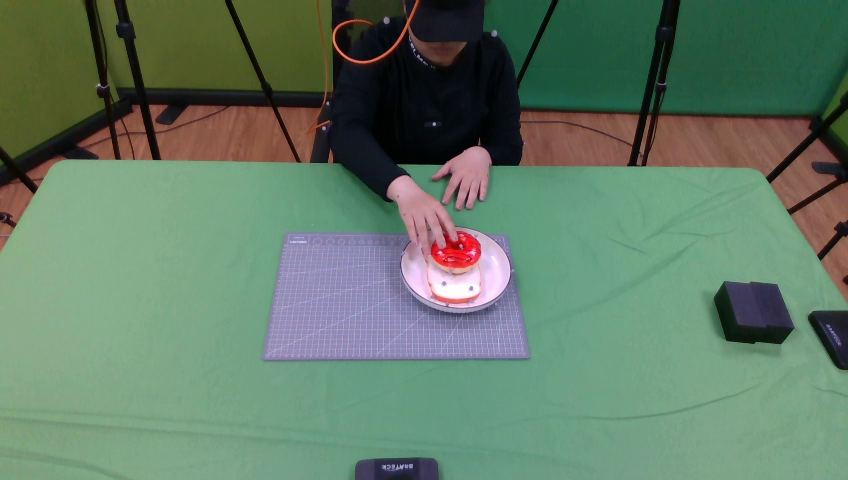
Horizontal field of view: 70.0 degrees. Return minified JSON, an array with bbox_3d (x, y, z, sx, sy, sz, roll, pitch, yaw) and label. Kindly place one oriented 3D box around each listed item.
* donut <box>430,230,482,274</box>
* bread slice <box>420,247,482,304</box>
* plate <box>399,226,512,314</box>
[{"bbox_3d":[0.060,0.020,1.132,0.099,0.048,0.098,1,43,0],"label":"donut"},{"bbox_3d":[0.056,0.062,1.131,0.107,0.018,0.133,-6,47,-8],"label":"bread slice"},{"bbox_3d":[0.057,0.057,1.134,0.209,0.038,0.208,2,46,-2],"label":"plate"}]
